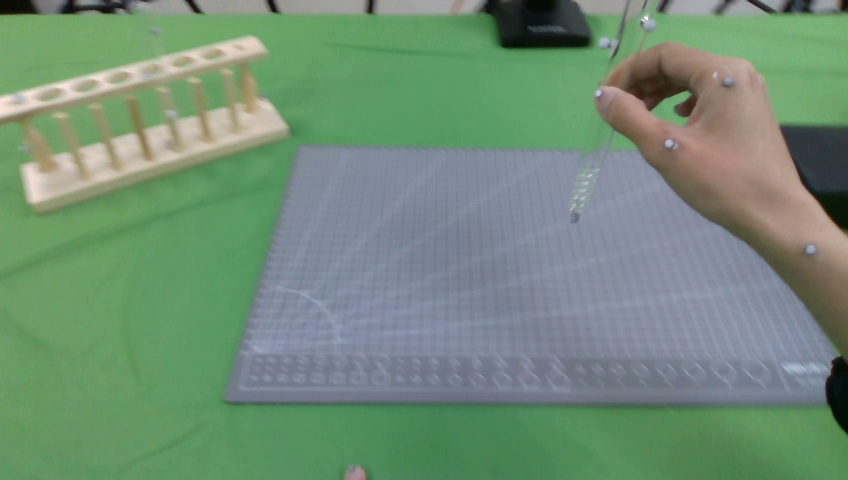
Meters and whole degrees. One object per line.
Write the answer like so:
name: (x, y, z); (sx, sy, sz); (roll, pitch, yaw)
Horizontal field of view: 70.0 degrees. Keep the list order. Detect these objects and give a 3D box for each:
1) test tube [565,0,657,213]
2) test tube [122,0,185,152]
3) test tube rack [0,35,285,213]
test tube: (0.105, -0.076, 0.350); (0.017, 0.151, 0.017); (4, 42, -3)
test tube: (-0.243, -0.143, 0.548); (0.017, 0.152, 0.017); (1, 45, -1)
test tube rack: (-0.267, -0.117, 0.584); (0.243, 0.086, 0.066); (-23, 50, -22)
